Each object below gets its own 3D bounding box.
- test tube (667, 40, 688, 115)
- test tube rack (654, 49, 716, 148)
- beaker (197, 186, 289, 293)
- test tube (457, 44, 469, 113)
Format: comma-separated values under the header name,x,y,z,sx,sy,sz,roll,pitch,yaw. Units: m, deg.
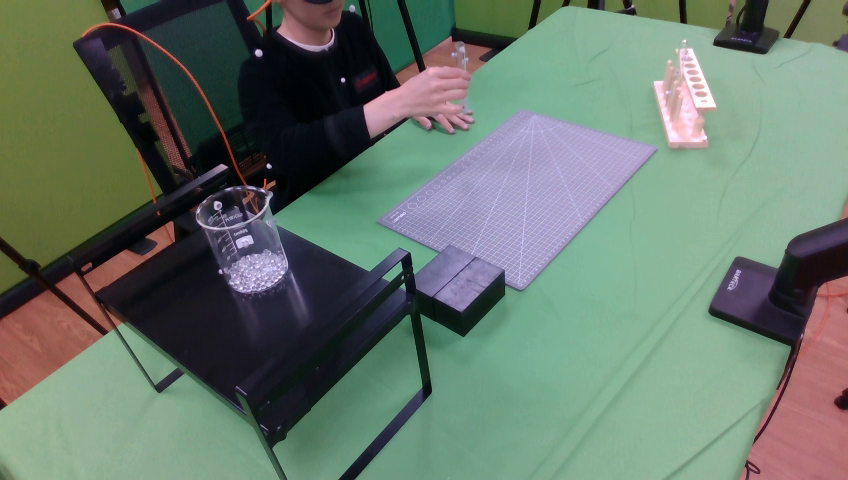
name,x,y,z,sx,sy,sz,roll,pitch,yaw
test tube,0.477,-0.303,1.138,0.017,0.151,0.017,-5,42,5
test tube rack,0.502,-0.281,1.176,0.066,0.085,0.241,1,41,11
beaker,-0.192,0.001,0.666,0.084,0.101,0.073,-32,47,-27
test tube,0.067,-0.272,1.032,0.017,0.151,0.017,-3,58,5
